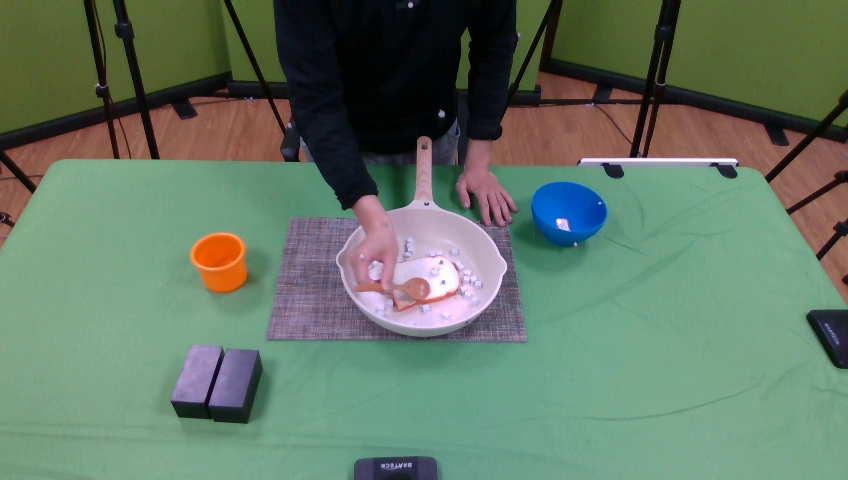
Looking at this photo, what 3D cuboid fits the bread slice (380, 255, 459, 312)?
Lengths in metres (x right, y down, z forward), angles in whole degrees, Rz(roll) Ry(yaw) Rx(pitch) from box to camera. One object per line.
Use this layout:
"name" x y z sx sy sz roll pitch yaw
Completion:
"bread slice" -0.005 0.074 1.118 0.134 0.018 0.106 -16 50 -17

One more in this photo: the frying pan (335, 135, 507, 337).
"frying pan" -0.003 -0.026 1.160 0.307 0.103 0.485 4 55 -2

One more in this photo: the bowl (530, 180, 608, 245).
"bowl" 0.284 -0.044 1.222 0.151 0.077 0.150 2 46 -2

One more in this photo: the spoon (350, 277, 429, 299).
"spoon" -0.054 0.079 1.014 0.021 0.194 0.041 -20 75 31
